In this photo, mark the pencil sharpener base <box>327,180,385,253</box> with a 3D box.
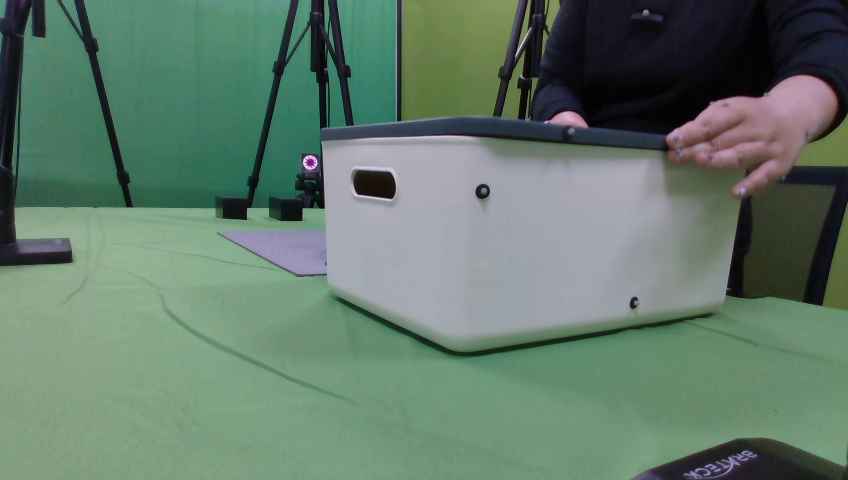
[{"bbox_3d":[-0.103,-0.037,0.932,0.077,0.107,0.061,-1,7,-30],"label":"pencil sharpener base"}]

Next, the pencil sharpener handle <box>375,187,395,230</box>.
[{"bbox_3d":[-0.059,-0.050,0.958,0.031,0.067,0.036,-1,14,-30],"label":"pencil sharpener handle"}]

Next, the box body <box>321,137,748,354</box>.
[{"bbox_3d":[0.105,-0.012,0.604,0.366,0.160,0.253,-2,8,-33],"label":"box body"}]

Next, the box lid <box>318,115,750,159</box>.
[{"bbox_3d":[0.107,-0.092,0.595,0.373,0.015,0.262,-2,7,-35],"label":"box lid"}]
